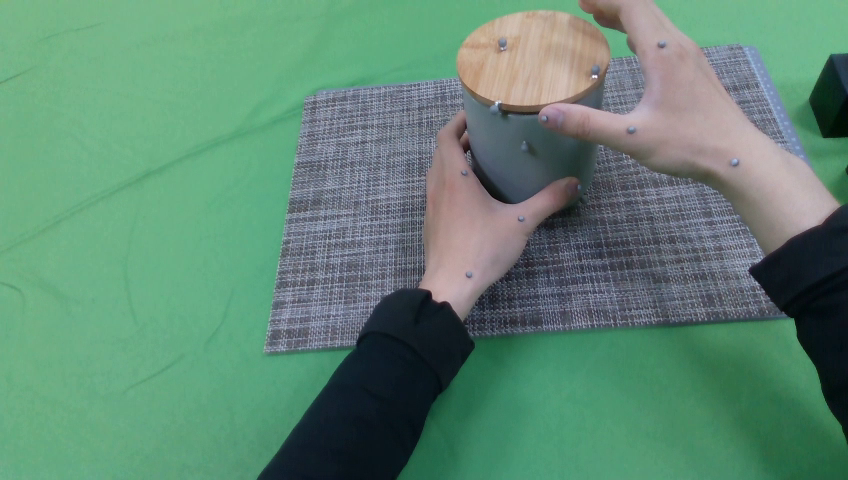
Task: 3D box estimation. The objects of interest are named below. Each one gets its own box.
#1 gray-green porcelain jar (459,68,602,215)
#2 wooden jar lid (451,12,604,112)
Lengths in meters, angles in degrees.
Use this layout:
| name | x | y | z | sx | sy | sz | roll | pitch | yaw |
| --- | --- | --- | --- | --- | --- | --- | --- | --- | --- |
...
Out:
| name | x | y | z | sx | sy | sz | roll | pitch | yaw |
| --- | --- | --- | --- | --- | --- | --- | --- | --- | --- |
| gray-green porcelain jar | 0.085 | -0.091 | 0.491 | 0.106 | 0.128 | 0.105 | -4 | 54 | 7 |
| wooden jar lid | 0.074 | -0.127 | 0.439 | 0.108 | 0.021 | 0.107 | -4 | 54 | 6 |
